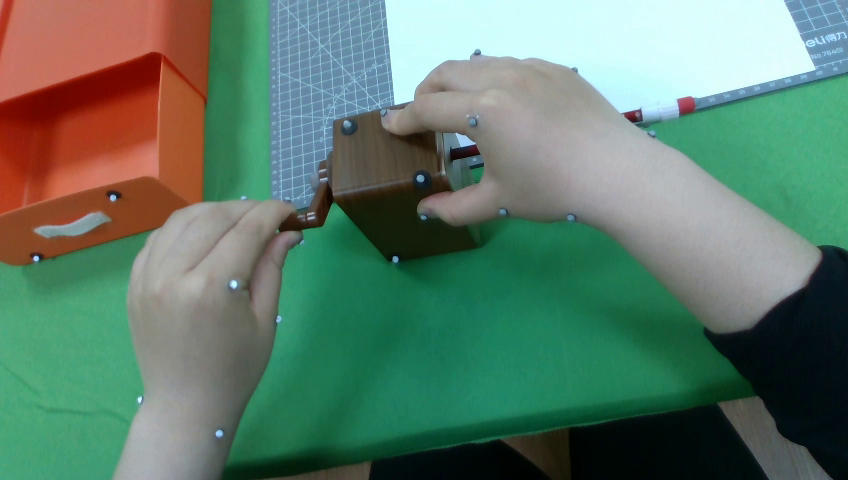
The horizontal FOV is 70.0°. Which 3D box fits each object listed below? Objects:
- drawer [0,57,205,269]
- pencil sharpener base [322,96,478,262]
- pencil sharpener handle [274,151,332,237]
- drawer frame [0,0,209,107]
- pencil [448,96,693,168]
[{"bbox_3d":[-0.295,-0.097,0.533,0.194,0.074,0.210,-14,63,11],"label":"drawer"},{"bbox_3d":[-0.013,-0.034,0.403,0.076,0.108,0.061,-10,64,13],"label":"pencil sharpener base"},{"bbox_3d":[-0.071,-0.027,0.378,0.030,0.036,0.067,-10,36,14],"label":"pencil sharpener handle"},{"bbox_3d":[-0.312,-0.203,0.581,0.201,0.083,0.211,-14,63,11],"label":"drawer frame"},{"bbox_3d":[0.058,-0.057,0.360,0.194,0.012,0.012,-12,64,12],"label":"pencil"}]
